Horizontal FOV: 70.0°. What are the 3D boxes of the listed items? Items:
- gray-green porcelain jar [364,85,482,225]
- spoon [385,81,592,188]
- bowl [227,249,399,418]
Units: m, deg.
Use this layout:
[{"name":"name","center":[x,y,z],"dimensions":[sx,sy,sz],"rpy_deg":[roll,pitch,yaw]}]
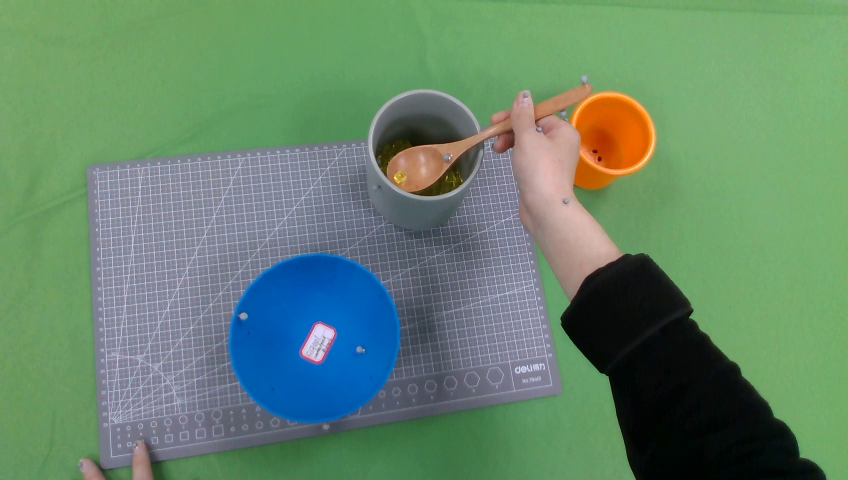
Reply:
[{"name":"gray-green porcelain jar","center":[-0.006,-0.075,0.594],"dimensions":[0.106,0.127,0.105],"rpy_deg":[1,77,-6]},{"name":"spoon","center":[0.055,-0.095,0.533],"dimensions":[0.193,0.022,0.041],"rpy_deg":[-23,77,14]},{"name":"bowl","center":[-0.101,0.089,0.573],"dimensions":[0.152,0.077,0.150],"rpy_deg":[2,78,-7]}]
